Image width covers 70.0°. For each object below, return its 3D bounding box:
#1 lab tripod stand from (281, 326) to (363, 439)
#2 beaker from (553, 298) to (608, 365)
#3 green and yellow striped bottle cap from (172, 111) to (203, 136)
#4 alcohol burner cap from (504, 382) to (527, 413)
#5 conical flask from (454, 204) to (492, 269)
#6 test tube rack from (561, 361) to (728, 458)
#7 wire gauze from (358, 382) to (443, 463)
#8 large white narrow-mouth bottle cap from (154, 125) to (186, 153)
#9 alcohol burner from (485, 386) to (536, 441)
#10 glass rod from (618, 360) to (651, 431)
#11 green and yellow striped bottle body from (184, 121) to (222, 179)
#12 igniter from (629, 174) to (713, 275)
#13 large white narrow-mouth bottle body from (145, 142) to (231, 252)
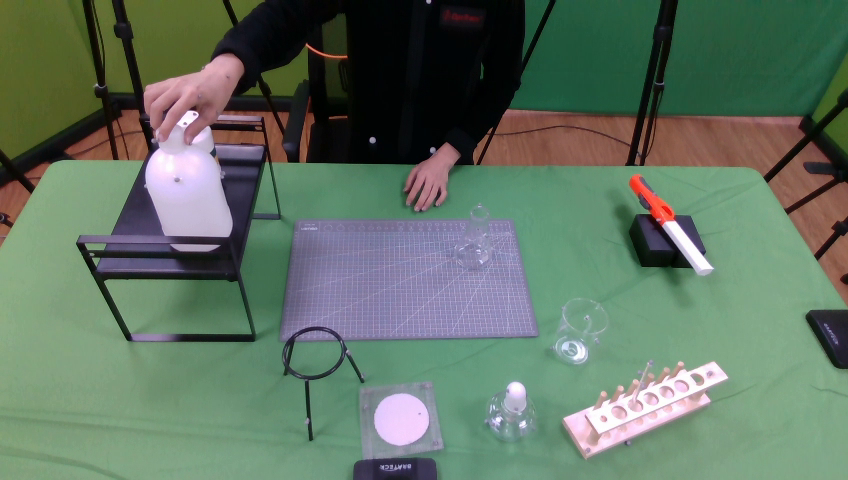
[{"bbox_3d":[-0.166,0.203,0.913,0.148,0.132,0.147,1,47,-1],"label":"lab tripod stand"},{"bbox_3d":[0.260,0.154,1.015,0.073,0.101,0.084,37,54,27],"label":"beaker"},{"bbox_3d":[-0.374,-0.185,0.958,0.045,0.020,0.045,3,46,-3],"label":"green and yellow striped bottle cap"},{"bbox_3d":[0.133,0.225,0.877,0.034,0.048,0.033,-4,46,5],"label":"alcohol burner cap"},{"bbox_3d":[0.097,-0.009,1.140,0.075,0.122,0.075,2,46,-2],"label":"conical flask"},{"bbox_3d":[0.341,0.248,0.940,0.243,0.085,0.066,-15,49,-18],"label":"test tube rack"},{"bbox_3d":[-0.039,0.276,0.937,0.121,0.011,0.124,-4,47,-7],"label":"wire gauze"},{"bbox_3d":[-0.340,-0.136,0.813,0.038,0.024,0.037,2,47,-2],"label":"large white narrow-mouth bottle cap"},{"bbox_3d":[0.131,0.249,0.904,0.078,0.120,0.077,1,48,-1],"label":"alcohol burner"},{"bbox_3d":[0.298,0.226,0.865,0.008,0.201,0.008,-1,48,2],"label":"glass rod"},{"bbox_3d":[-0.375,-0.149,0.995,0.063,0.120,0.063,2,46,-2],"label":"green and yellow striped bottle body"},{"bbox_3d":[0.481,-0.040,1.202,0.057,0.025,0.274,-1,46,-21],"label":"igniter"},{"bbox_3d":[-0.345,-0.078,0.878,0.102,0.195,0.101,2,47,-2],"label":"large white narrow-mouth bottle body"}]
